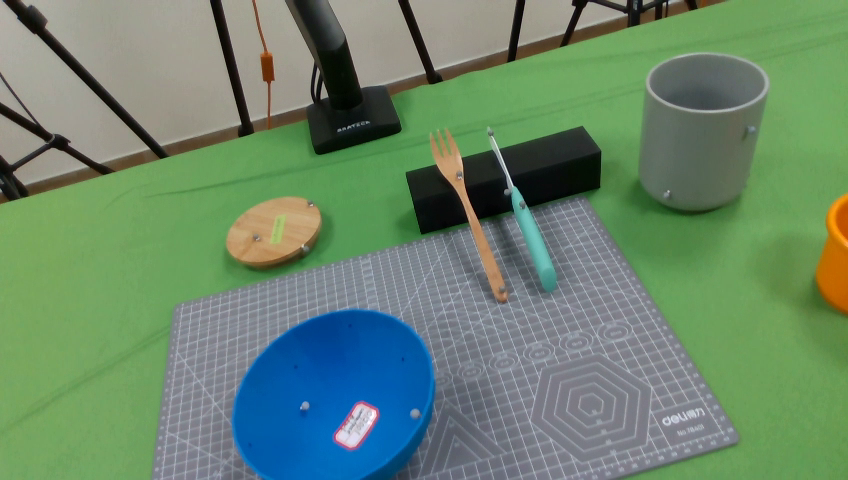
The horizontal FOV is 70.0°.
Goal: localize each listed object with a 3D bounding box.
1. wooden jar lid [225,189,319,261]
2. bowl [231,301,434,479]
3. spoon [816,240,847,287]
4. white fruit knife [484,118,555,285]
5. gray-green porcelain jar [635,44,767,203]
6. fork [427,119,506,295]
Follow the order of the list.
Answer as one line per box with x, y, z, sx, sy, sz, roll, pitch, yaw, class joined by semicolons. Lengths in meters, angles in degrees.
-0.169;-0.016;0.684;0.108;0.021;0.107;-6;45;6;wooden jar lid
-0.060;0.128;0.465;0.151;0.077;0.150;-7;44;7;bowl
0.395;-0.025;0.461;0.022;0.194;0.041;23;38;-26;spoon
0.090;-0.049;0.607;0.016;0.028;0.205;-15;58;-3;white fruit knife
0.264;-0.108;0.591;0.106;0.128;0.105;-7;44;7;gray-green porcelain jar
0.042;-0.038;0.606;0.028;0.019;0.205;-15;62;-8;fork
